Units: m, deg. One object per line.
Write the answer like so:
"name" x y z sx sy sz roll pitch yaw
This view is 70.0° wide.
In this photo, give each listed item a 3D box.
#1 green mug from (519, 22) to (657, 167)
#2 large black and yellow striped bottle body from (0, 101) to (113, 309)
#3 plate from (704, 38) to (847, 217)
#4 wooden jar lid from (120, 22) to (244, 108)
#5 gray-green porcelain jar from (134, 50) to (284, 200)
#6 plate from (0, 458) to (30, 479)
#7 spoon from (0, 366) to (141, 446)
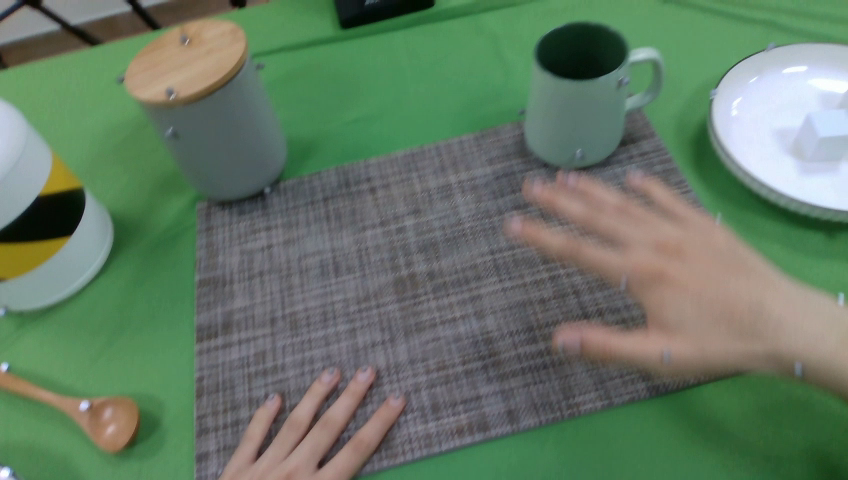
"green mug" 0.149 -0.133 0.549 0.125 0.106 0.091 -15 55 -2
"large black and yellow striped bottle body" -0.374 -0.037 0.515 0.130 0.186 0.129 -4 55 6
"plate" 0.358 -0.100 0.542 0.207 0.039 0.205 -4 55 6
"wooden jar lid" -0.205 -0.148 0.523 0.108 0.021 0.107 -6 54 8
"gray-green porcelain jar" -0.197 -0.109 0.572 0.106 0.128 0.105 -4 51 6
"plate" -0.347 0.249 0.405 0.209 0.038 0.207 -4 55 6
"spoon" -0.306 0.124 0.494 0.193 0.022 0.041 13 77 16
